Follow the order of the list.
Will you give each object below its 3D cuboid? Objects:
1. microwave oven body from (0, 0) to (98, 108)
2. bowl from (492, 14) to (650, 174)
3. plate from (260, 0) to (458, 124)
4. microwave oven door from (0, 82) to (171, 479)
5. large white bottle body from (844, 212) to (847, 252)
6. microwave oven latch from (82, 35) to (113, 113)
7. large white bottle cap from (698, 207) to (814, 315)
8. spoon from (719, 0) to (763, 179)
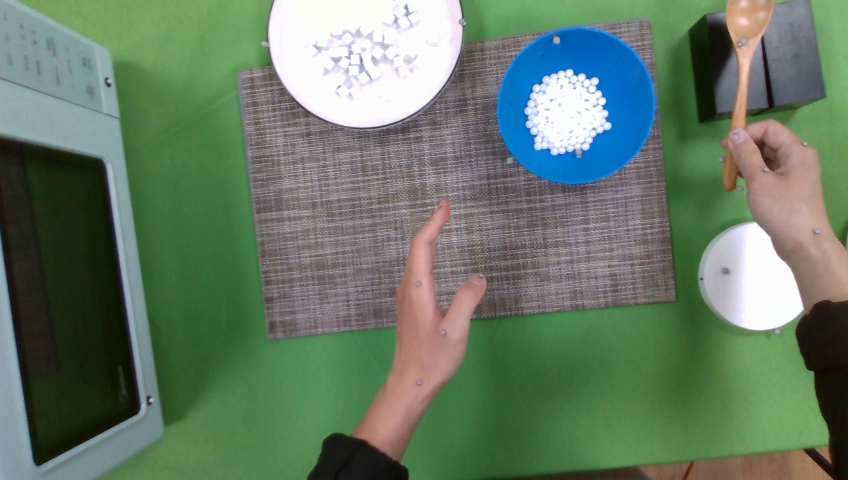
[{"bbox_3d":[-0.485,0.024,0.570,0.326,0.260,0.441,-9,92,3],"label":"microwave oven body"},{"bbox_3d":[0.142,-0.139,0.614,0.151,0.077,0.151,0,92,4],"label":"bowl"},{"bbox_3d":[-0.067,-0.224,0.646,0.209,0.038,0.209,0,89,4],"label":"plate"},{"bbox_3d":[-0.335,0.043,0.556,0.039,0.244,0.355,-9,91,4],"label":"microwave oven door"},{"bbox_3d":[0.497,-0.009,0.546,0.130,0.184,0.130,0,91,4],"label":"large white bottle body"},{"bbox_3d":[-0.360,-0.176,0.651,0.030,0.029,0.079,-8,92,3],"label":"microwave oven latch"},{"bbox_3d":[0.350,0.023,0.641,0.115,0.018,0.115,0,92,3],"label":"large white bottle cap"},{"bbox_3d":[0.288,-0.154,0.560,0.041,0.021,0.194,2,95,-1],"label":"spoon"}]
